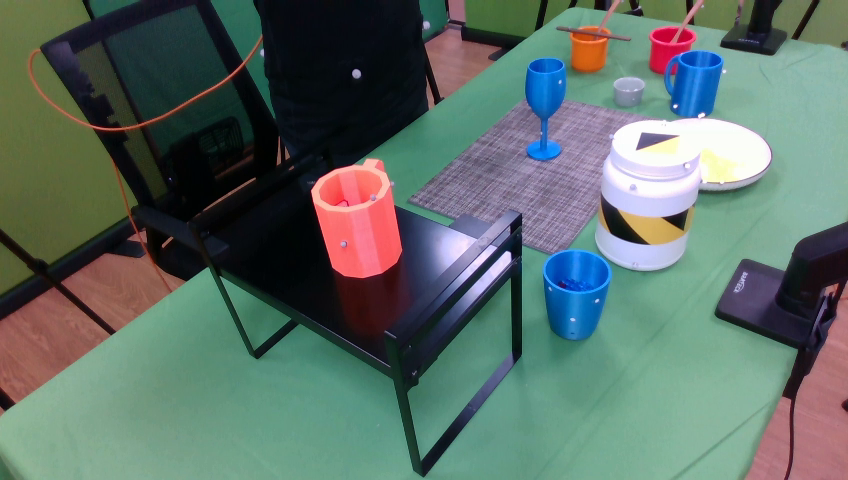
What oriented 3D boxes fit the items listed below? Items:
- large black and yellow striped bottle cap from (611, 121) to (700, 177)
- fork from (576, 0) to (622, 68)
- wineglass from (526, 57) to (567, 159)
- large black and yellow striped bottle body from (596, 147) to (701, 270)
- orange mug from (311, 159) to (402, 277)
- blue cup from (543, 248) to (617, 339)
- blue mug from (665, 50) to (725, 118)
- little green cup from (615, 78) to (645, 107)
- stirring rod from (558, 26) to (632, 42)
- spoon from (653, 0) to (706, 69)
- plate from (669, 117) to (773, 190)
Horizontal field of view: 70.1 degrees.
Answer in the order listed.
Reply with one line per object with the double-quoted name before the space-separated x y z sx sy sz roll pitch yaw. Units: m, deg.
"large black and yellow striped bottle cap" 0.315 -0.126 0.823 0.115 0.019 0.114 -4 42 4
"fork" 0.409 -0.484 1.381 0.028 0.019 0.207 37 101 46
"wineglass" 0.221 -0.237 1.097 0.074 0.173 0.073 -4 41 4
"large black and yellow striped bottle body" 0.323 -0.062 0.877 0.131 0.185 0.130 -5 40 4
"orange mug" -0.070 -0.034 0.694 0.083 0.101 0.126 5 46 16
"blue cup" 0.199 0.076 0.797 0.092 0.100 0.092 -4 39 4
"blue mug" 0.526 -0.314 1.198 0.082 0.106 0.115 -27 44 -21
"little green cup" 0.426 -0.306 1.257 0.061 0.039 0.061 -4 40 4
"stirring rod" 0.381 -0.463 1.356 0.175 0.006 0.014 22 48 30
"spoon" 0.570 -0.461 1.334 0.041 0.022 0.193 39 102 42
"plate" 0.495 -0.148 1.063 0.209 0.038 0.208 -5 40 4
